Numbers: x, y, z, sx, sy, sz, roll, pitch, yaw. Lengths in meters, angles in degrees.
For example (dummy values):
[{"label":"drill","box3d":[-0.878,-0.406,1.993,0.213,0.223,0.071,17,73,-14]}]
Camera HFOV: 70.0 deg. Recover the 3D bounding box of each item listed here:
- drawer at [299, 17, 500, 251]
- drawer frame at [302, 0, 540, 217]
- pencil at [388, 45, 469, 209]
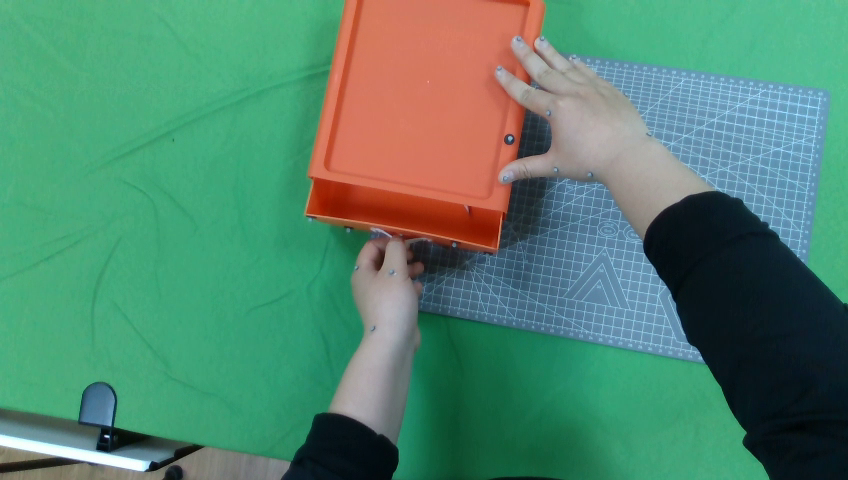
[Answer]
[{"label":"drawer","box3d":[-0.007,-0.105,0.620,0.194,0.073,0.211,10,86,7]},{"label":"drawer frame","box3d":[-0.001,-0.143,0.622,0.201,0.083,0.213,10,86,6]},{"label":"pencil","box3d":[0.006,-0.121,0.645,0.012,0.012,0.193,-25,86,3]}]
